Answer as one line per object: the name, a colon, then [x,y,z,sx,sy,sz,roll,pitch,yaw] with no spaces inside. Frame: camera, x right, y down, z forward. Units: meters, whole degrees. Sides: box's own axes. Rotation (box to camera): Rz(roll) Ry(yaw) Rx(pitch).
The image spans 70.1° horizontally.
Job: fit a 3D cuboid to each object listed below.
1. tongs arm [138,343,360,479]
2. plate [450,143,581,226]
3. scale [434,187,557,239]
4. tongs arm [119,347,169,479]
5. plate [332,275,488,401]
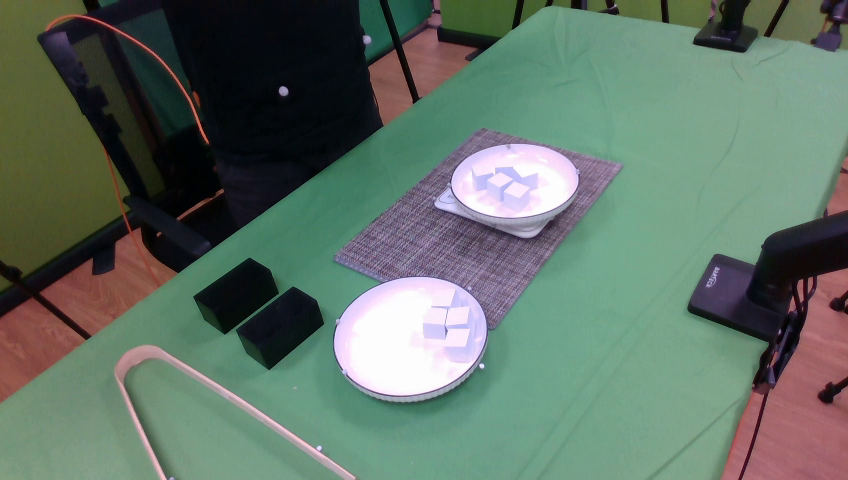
tongs arm: [-0.229,0.209,0.753,0.384,0.028,0.028,20,51,29]
plate: [0.148,-0.087,0.986,0.209,0.038,0.208,-4,41,4]
scale: [0.132,-0.075,1.025,0.199,0.032,0.149,22,48,30]
tongs arm: [-0.291,0.251,0.707,0.051,0.026,0.381,-32,45,-26]
plate: [-0.017,0.130,0.808,0.207,0.039,0.206,-4,41,4]
